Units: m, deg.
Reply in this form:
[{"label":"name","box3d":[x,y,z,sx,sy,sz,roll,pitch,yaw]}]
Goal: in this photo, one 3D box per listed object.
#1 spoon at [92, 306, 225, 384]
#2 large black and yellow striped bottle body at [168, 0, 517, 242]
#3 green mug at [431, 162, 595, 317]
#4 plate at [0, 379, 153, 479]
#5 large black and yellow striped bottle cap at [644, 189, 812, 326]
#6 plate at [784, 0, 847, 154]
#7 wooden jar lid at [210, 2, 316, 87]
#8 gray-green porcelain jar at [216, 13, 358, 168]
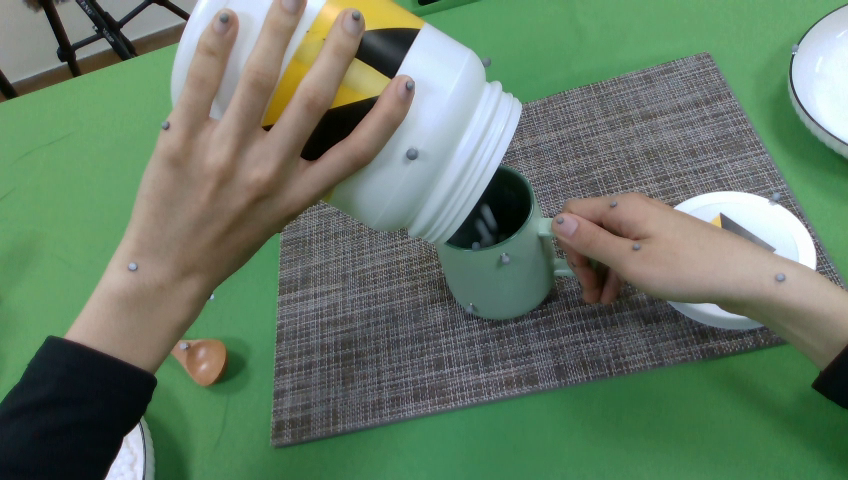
[{"label":"spoon","box3d":[-0.255,0.090,0.570,0.192,0.022,0.041,15,79,26]},{"label":"large black and yellow striped bottle body","box3d":[-0.046,-0.088,0.385,0.184,0.131,0.130,28,65,-9]},{"label":"green mug","box3d":[0.067,0.002,0.467,0.125,0.106,0.092,3,59,21]},{"label":"plate","box3d":[-0.311,0.218,0.494,0.209,0.038,0.207,-8,55,13]},{"label":"large black and yellow striped bottle cap","box3d":[0.230,0.010,0.464,0.115,0.019,0.114,-9,55,14]},{"label":"plate","box3d":[0.407,-0.131,0.490,0.207,0.039,0.205,-9,56,13]},{"label":"wooden jar lid","box3d":[-0.149,-0.183,0.571,0.108,0.021,0.107,-11,54,15]},{"label":"gray-green porcelain jar","box3d":[-0.132,-0.145,0.619,0.105,0.128,0.105,-10,51,12]}]
